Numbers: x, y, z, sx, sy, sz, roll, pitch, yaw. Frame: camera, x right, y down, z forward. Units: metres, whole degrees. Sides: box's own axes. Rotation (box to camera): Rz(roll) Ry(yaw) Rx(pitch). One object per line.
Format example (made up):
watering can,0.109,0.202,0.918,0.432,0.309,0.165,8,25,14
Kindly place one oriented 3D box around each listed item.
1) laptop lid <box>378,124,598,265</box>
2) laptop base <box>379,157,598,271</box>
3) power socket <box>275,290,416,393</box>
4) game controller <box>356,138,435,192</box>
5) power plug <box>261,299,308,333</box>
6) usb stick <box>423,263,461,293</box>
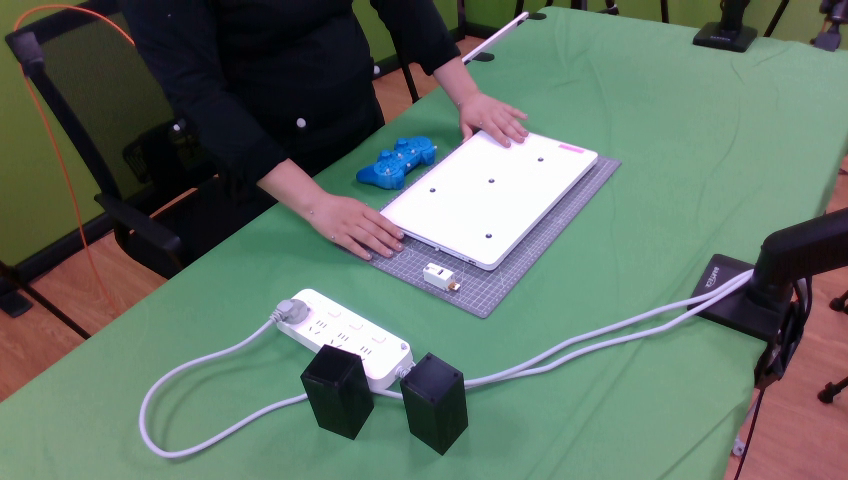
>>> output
laptop lid,0.117,-0.097,1.045,0.239,0.013,0.358,25,50,33
laptop base,0.120,-0.085,1.054,0.233,0.023,0.355,21,47,34
power socket,-0.114,0.133,0.821,0.225,0.033,0.072,24,48,31
game controller,-0.049,-0.149,1.136,0.096,0.052,0.155,27,51,28
power plug,-0.193,0.109,0.830,0.073,0.053,0.035,-36,48,-23
usb stick,0.028,0.058,0.889,0.059,0.027,0.021,25,47,29
